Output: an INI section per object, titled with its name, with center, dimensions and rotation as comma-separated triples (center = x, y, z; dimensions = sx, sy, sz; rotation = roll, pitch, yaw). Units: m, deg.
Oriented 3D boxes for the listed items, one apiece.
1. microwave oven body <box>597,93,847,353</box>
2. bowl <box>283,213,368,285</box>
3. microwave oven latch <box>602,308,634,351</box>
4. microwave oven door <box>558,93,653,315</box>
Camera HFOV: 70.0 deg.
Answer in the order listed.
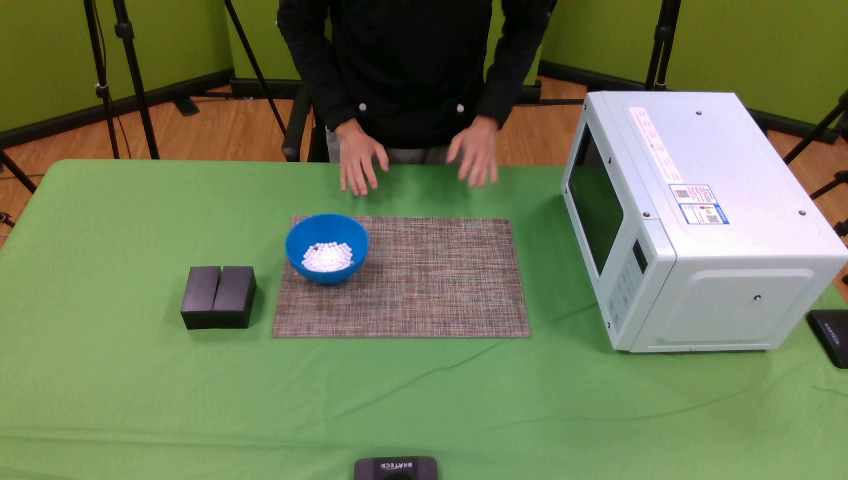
[microwave oven body]
center = 0.475, -0.041, 1.109
dimensions = 0.326, 0.261, 0.438
rotation = -1, 45, -4
[bowl]
center = -0.178, 0.030, 1.114
dimensions = 0.151, 0.077, 0.150
rotation = 3, 45, -2
[microwave oven latch]
center = 0.332, 0.153, 1.044
dimensions = 0.030, 0.029, 0.078
rotation = -1, 45, -4
[microwave oven door]
center = 0.327, -0.074, 1.123
dimensions = 0.039, 0.245, 0.353
rotation = -1, 46, -5
